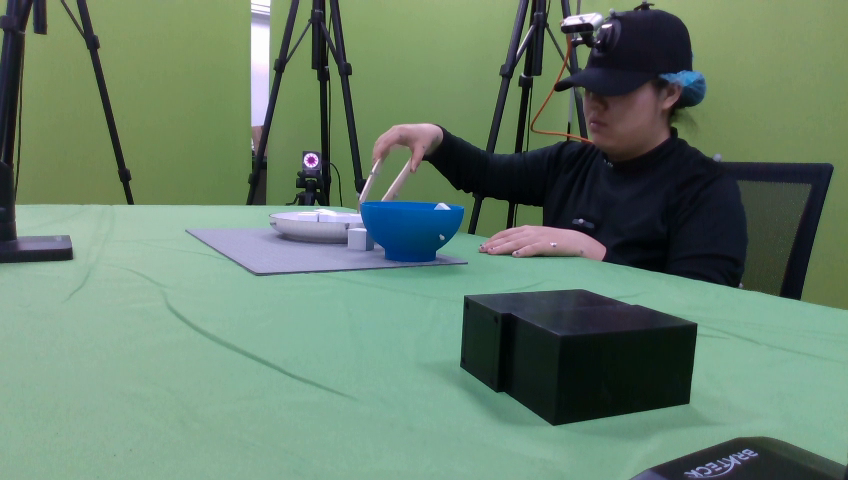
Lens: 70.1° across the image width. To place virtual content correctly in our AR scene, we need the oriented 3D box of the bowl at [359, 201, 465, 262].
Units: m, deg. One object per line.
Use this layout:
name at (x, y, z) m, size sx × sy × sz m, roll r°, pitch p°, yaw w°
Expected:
bowl at (-0.018, -0.013, 0.859) m, size 0.151 × 0.077 × 0.151 m, roll 2°, pitch 7°, yaw 0°

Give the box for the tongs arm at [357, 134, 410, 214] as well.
tongs arm at (-0.067, -0.131, 1.108) m, size 0.051 × 0.026 × 0.384 m, roll 5°, pitch 26°, yaw 2°

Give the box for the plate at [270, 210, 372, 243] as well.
plate at (-0.161, -0.023, 1.054) m, size 0.208 × 0.039 × 0.207 m, roll 2°, pitch 7°, yaw 0°

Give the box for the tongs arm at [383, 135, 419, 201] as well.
tongs arm at (-0.042, -0.128, 1.106) m, size 0.028 × 0.028 × 0.387 m, roll 3°, pitch 25°, yaw 7°
